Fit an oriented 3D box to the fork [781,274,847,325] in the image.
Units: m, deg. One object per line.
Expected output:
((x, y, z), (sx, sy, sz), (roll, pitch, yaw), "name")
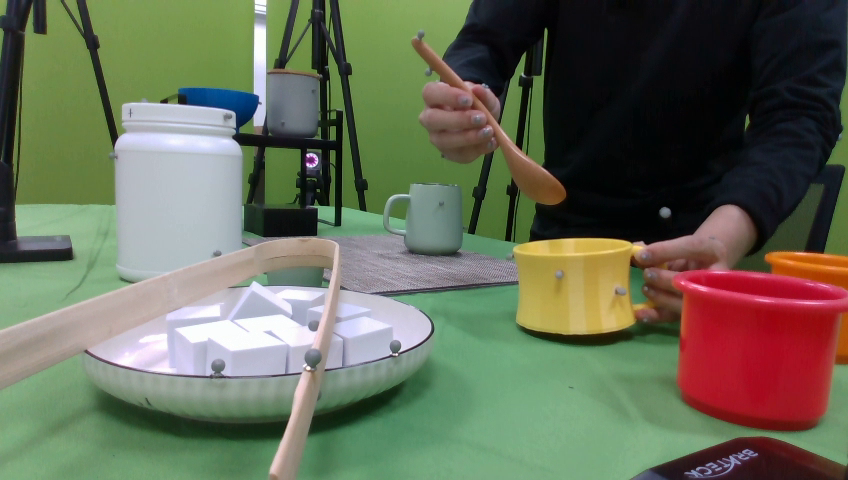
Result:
((0.332, 0.018, 0.443), (0.028, 0.018, 0.207), (-4, -35, -16), "fork")

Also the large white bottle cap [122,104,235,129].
((-0.266, -0.135, 0.663), (0.115, 0.018, 0.115), (3, 7, 0), "large white bottle cap")

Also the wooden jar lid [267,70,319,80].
((-0.275, -0.339, 1.271), (0.108, 0.020, 0.108), (5, 6, 0), "wooden jar lid")

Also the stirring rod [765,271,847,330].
((0.352, 0.020, 0.481), (0.176, 0.006, 0.014), (-40, -7, 17), "stirring rod")

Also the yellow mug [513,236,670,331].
((0.143, 0.033, 0.516), (0.131, 0.064, 0.100), (-3, 6, 3), "yellow mug")

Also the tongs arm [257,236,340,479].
((-0.074, 0.040, 0.345), (0.051, 0.026, 0.384), (-1, 10, -3), "tongs arm")

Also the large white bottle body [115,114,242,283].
((-0.270, -0.051, 0.673), (0.131, 0.184, 0.130), (2, 8, 0), "large white bottle body")

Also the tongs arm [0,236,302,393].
((-0.157, 0.038, 0.347), (0.028, 0.028, 0.388), (-3, 8, 12), "tongs arm")

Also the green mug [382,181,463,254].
((-0.001, -0.036, 0.922), (0.126, 0.105, 0.092), (0, 8, -16), "green mug")

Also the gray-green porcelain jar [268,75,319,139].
((-0.277, -0.278, 1.280), (0.106, 0.126, 0.106), (2, 8, 0), "gray-green porcelain jar")

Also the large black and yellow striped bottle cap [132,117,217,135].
((-0.359, -0.164, 0.875), (0.115, 0.019, 0.115), (2, 6, 0), "large black and yellow striped bottle cap")

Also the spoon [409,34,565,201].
((0.054, -0.106, 0.531), (0.022, 0.193, 0.041), (-41, 1, -29), "spoon")

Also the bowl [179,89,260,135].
((-0.400, -0.248, 1.188), (0.151, 0.077, 0.151), (3, 7, 0), "bowl")

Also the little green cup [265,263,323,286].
((-0.134, 0.033, 0.628), (0.061, 0.038, 0.061), (3, 7, 0), "little green cup")

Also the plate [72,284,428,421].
((-0.102, 0.067, 0.381), (0.208, 0.039, 0.207), (3, 7, 0), "plate")

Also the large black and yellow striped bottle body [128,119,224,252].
((-0.361, -0.081, 0.887), (0.131, 0.184, 0.130), (2, 8, 0), "large black and yellow striped bottle body")
